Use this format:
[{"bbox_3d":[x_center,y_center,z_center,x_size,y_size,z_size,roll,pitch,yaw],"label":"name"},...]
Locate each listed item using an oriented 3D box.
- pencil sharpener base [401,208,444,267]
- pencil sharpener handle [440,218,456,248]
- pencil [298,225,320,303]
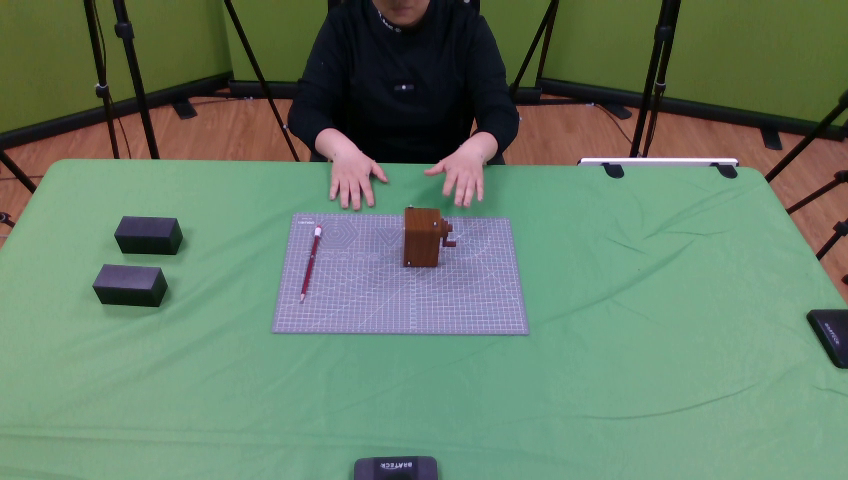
[{"bbox_3d":[-0.005,-0.003,1.137,0.077,0.107,0.061,1,45,-4],"label":"pencil sharpener base"},{"bbox_3d":[0.047,-0.011,1.132,0.031,0.068,0.036,1,45,-4],"label":"pencil sharpener handle"},{"bbox_3d":[-0.217,0.043,1.144,0.012,0.012,0.193,4,47,0],"label":"pencil"}]
